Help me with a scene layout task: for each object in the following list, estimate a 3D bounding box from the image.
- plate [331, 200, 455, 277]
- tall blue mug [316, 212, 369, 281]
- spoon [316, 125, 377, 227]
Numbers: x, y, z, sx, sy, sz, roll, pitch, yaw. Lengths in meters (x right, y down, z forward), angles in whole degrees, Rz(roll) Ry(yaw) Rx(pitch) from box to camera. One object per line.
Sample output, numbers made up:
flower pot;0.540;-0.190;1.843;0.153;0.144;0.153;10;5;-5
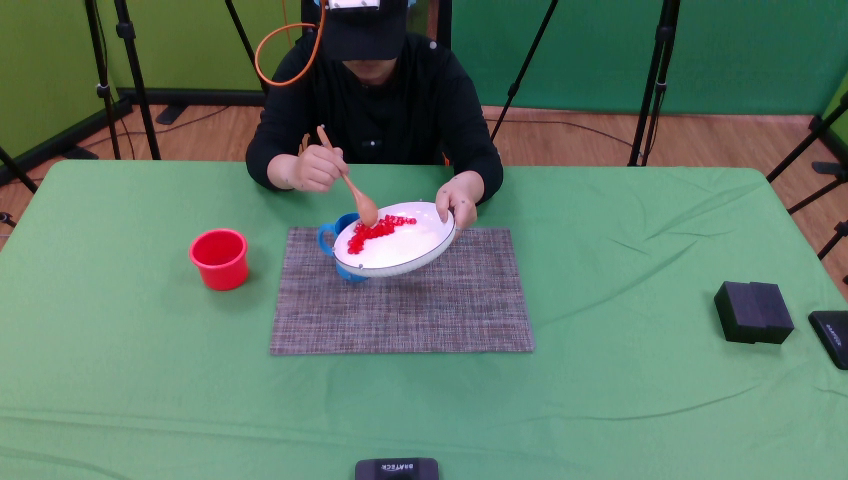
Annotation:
plate;-0.048;0.001;0.998;0.207;0.039;0.206;-11;30;7
tall blue mug;-0.141;0.014;1.109;0.107;0.108;0.077;-4;48;-9
spoon;-0.135;-0.108;1.040;0.041;0.021;0.194;-40;104;-34
